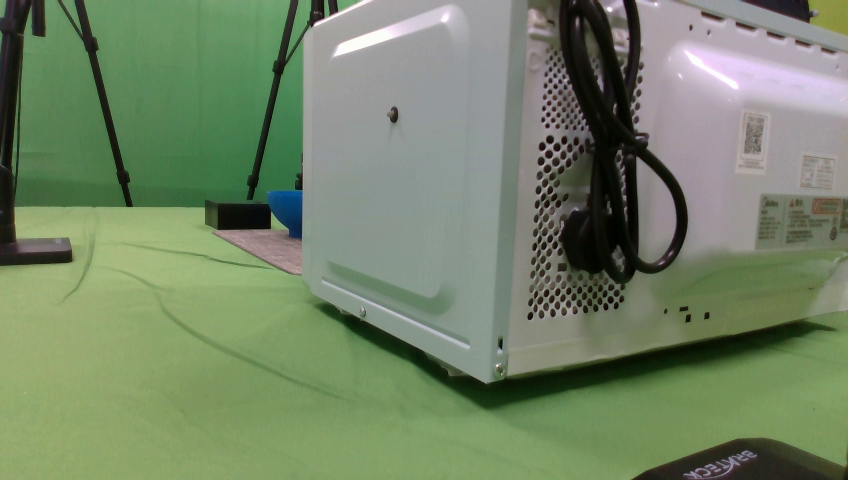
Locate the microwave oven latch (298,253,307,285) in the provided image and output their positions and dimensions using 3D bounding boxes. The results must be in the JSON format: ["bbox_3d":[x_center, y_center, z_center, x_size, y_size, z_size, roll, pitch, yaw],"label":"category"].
[{"bbox_3d":[-0.082,0.027,0.583,0.079,0.029,0.030,-1,7,-32],"label":"microwave oven latch"}]

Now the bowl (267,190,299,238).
[{"bbox_3d":[-0.202,-0.046,1.070,0.151,0.077,0.151,3,7,0],"label":"bowl"}]

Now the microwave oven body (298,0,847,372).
[{"bbox_3d":[0.151,-0.055,0.543,0.444,0.260,0.324,-1,7,-33],"label":"microwave oven body"}]

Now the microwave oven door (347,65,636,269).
[{"bbox_3d":[0.084,-0.091,0.770,0.356,0.243,0.039,2,8,-3],"label":"microwave oven door"}]
